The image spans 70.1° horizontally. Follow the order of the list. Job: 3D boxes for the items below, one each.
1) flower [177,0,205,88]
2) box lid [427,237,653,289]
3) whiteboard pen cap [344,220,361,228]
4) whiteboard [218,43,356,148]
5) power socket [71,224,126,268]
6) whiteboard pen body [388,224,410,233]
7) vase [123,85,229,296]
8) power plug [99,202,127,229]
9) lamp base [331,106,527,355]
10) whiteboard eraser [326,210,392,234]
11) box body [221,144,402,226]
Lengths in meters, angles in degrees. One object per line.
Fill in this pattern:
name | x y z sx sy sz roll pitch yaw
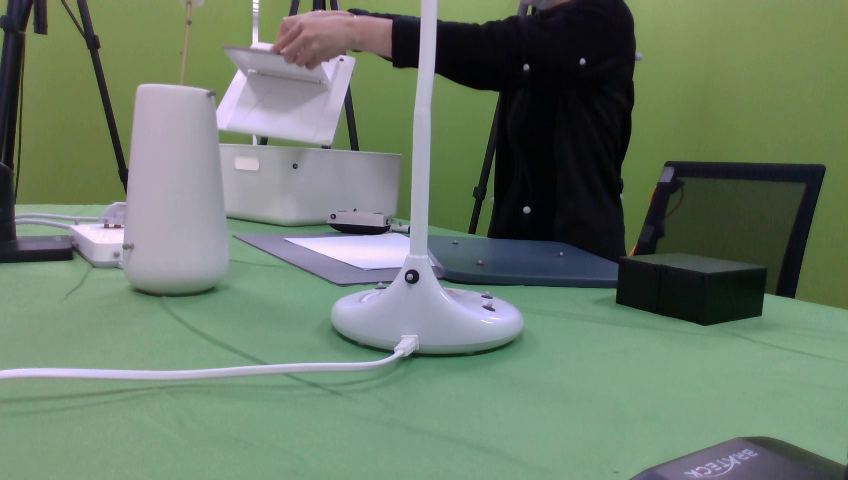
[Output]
flower | -0.243 -0.131 0.609 0.044 0.361 0.038 -5 -12 11
box lid | 0.139 0.028 0.886 0.264 0.015 0.371 2 7 -6
whiteboard pen cap | -0.144 -0.032 1.230 0.033 0.018 0.018 6 8 17
whiteboard | -0.255 -0.334 1.123 0.217 0.144 0.305 7 46 -2
power socket | -0.409 0.004 0.793 0.072 0.032 0.225 -2 8 -37
whiteboard pen body | -0.088 -0.027 1.214 0.140 0.017 0.017 5 8 18
vase | -0.244 -0.047 0.598 0.098 0.200 0.098 3 8 0
power plug | -0.415 -0.026 0.848 0.073 0.052 0.035 6 5 -28
lamp base | 0.006 -0.012 0.478 0.161 0.180 0.179 2 10 2
whiteboard eraser | -0.121 -0.033 1.131 0.112 0.042 0.056 4 8 13
box body | -0.254 -0.128 1.379 0.253 0.160 0.366 8 9 36
